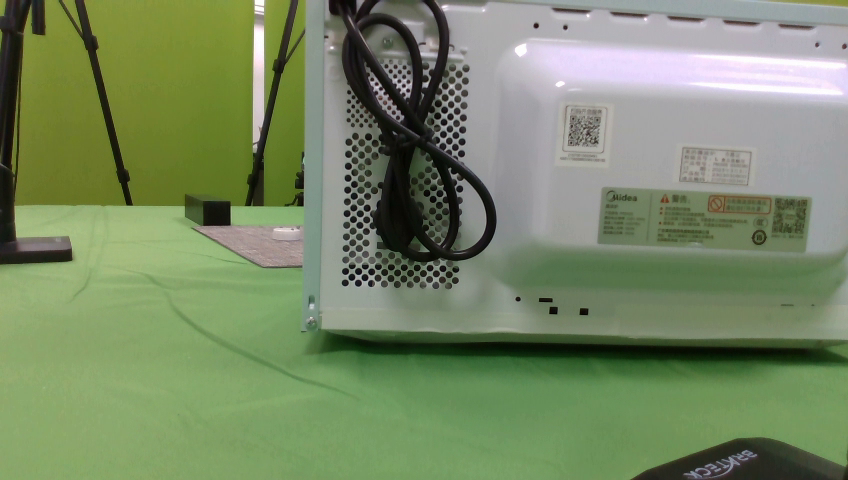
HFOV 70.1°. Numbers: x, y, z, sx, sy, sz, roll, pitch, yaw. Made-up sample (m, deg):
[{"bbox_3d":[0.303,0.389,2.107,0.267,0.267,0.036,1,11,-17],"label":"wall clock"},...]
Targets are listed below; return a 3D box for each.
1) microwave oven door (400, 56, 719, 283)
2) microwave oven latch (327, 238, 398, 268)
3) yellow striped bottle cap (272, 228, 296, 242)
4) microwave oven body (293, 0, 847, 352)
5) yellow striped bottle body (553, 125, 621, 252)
[{"bbox_3d":[0.155,-0.078,0.698,0.356,0.243,0.039,2,8,-5],"label":"microwave oven door"},{"bbox_3d":[-0.069,0.015,0.694,0.079,0.029,0.030,3,7,-3],"label":"microwave oven latch"},{"bbox_3d":[-0.232,-0.008,1.012,0.044,0.018,0.044,4,8,0],"label":"yellow striped bottle cap"},{"bbox_3d":[0.122,-0.055,0.550,0.442,0.260,0.325,3,7,-5],"label":"microwave oven body"},{"bbox_3d":[0.158,-0.050,0.587,0.063,0.120,0.063,0,5,0],"label":"yellow striped bottle body"}]
